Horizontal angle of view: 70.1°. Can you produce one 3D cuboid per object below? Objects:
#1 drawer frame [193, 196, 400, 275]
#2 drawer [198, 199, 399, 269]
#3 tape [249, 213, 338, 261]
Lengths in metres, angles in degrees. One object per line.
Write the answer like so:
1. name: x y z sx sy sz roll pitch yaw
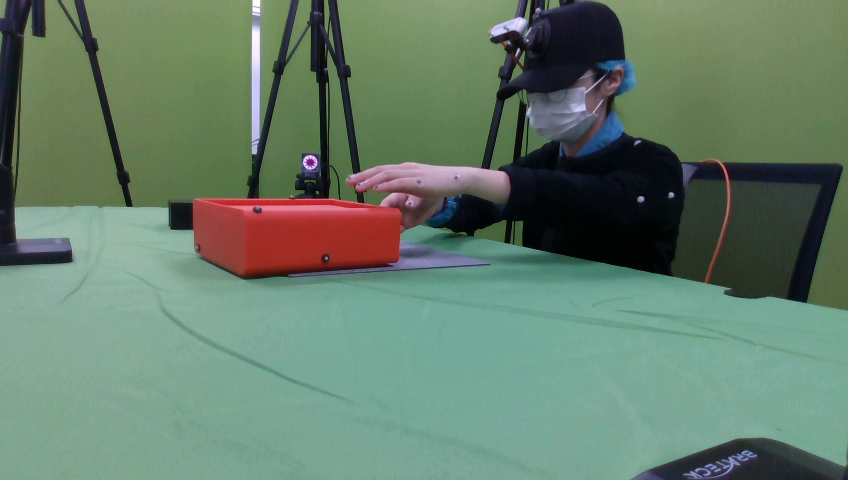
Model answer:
1. drawer frame: -0.173 -0.014 0.815 0.215 0.082 0.200 -4 10 -37
2. drawer: -0.171 -0.014 0.818 0.213 0.073 0.193 -4 10 -36
3. tape: -0.174 -0.006 0.813 0.117 0.052 0.117 2 7 0
